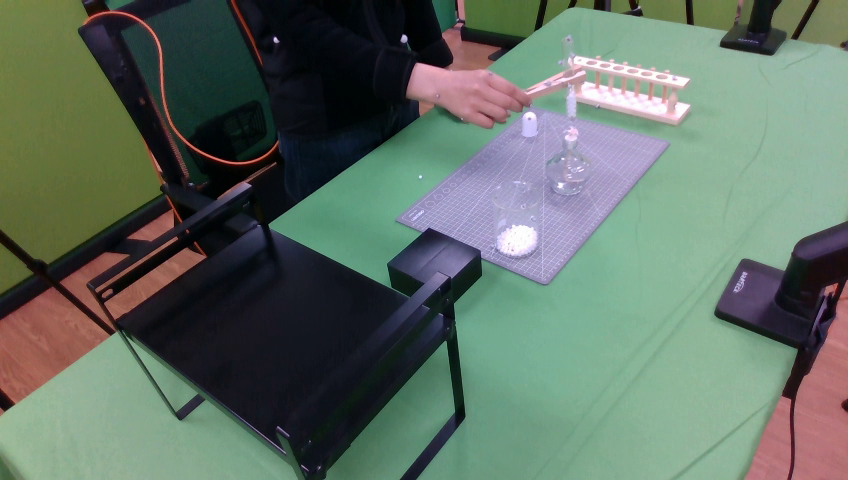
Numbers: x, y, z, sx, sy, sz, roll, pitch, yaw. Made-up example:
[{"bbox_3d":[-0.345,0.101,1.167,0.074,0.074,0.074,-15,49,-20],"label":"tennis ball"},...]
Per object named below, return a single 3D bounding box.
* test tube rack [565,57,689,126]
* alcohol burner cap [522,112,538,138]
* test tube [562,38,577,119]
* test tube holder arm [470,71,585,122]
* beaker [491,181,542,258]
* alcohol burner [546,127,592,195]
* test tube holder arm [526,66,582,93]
[{"bbox_3d":[0.411,-0.311,1.230,0.240,0.085,0.067,23,49,32],"label":"test tube rack"},{"bbox_3d":[0.210,-0.230,1.195,0.034,0.048,0.033,-6,40,5],"label":"alcohol burner cap"},{"bbox_3d":[0.218,-0.237,0.908,0.017,0.151,0.017,-8,54,12],"label":"test tube"},{"bbox_3d":[0.155,-0.214,0.903,0.178,0.015,0.013,-21,50,3],"label":"test tube holder arm"},{"bbox_3d":[0.144,-0.030,0.925,0.073,0.100,0.084,23,48,31],"label":"beaker"},{"bbox_3d":[0.246,-0.137,1.024,0.078,0.119,0.077,-4,38,4],"label":"alcohol burner"},{"bbox_3d":[0.195,-0.236,0.905,0.088,0.015,0.010,-26,51,-2],"label":"test tube holder arm"}]
